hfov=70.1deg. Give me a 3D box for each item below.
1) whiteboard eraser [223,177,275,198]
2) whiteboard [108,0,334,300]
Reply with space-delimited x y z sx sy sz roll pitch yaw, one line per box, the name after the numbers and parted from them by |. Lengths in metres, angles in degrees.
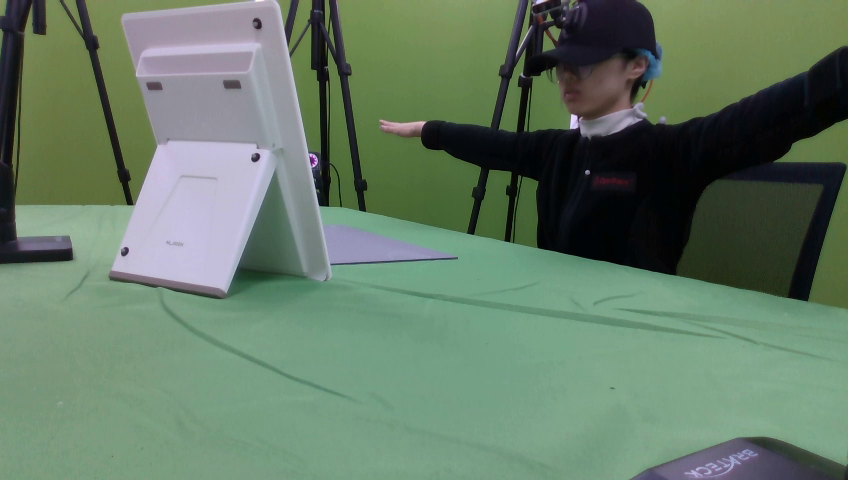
-0.377 -0.113 1.308 0.055 0.042 0.113 7 11 20 | whiteboard eraser
-0.248 -0.072 0.624 0.216 0.305 0.144 6 28 26 | whiteboard
